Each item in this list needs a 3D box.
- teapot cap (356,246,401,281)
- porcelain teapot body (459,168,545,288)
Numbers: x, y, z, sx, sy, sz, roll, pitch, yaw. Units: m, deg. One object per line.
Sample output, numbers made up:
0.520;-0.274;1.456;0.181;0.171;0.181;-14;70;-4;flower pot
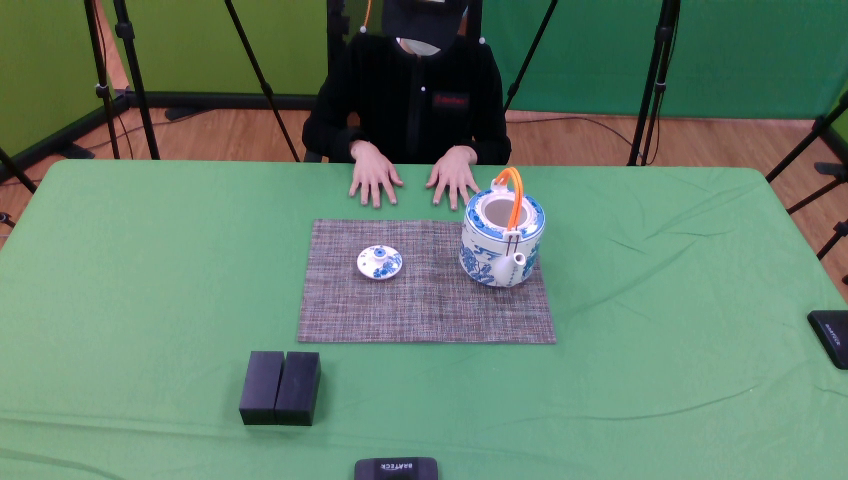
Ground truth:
-0.085;0.039;1.135;0.085;0.044;0.084;4;47;-4;teapot cap
0.146;-0.006;1.070;0.145;0.226;0.204;-4;46;-8;porcelain teapot body
